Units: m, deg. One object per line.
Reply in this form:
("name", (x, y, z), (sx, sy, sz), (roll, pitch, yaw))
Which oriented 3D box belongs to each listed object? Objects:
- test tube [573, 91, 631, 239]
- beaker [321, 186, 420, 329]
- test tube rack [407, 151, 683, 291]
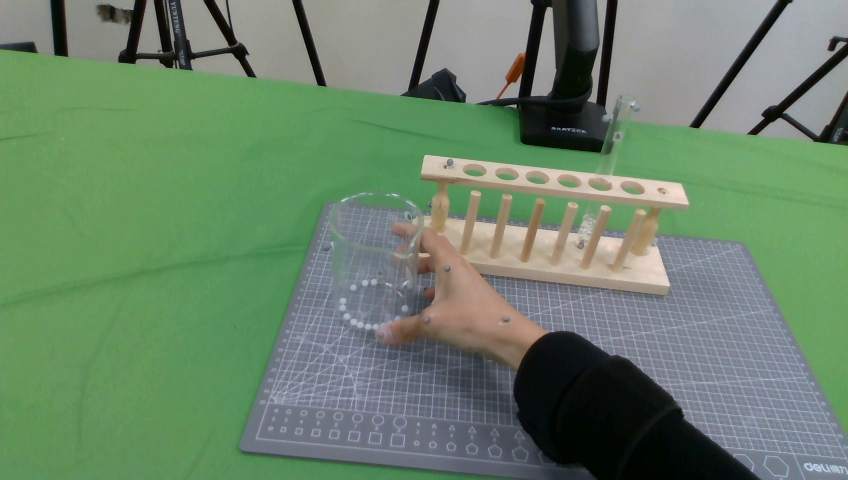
("test tube", (0.161, -0.064, 0.556), (0.017, 0.151, 0.017), (4, 36, -3))
("beaker", (-0.042, 0.019, 0.497), (0.074, 0.101, 0.083), (-21, 47, -29))
("test tube rack", (0.110, -0.018, 0.572), (0.242, 0.086, 0.066), (7, 40, 1))
